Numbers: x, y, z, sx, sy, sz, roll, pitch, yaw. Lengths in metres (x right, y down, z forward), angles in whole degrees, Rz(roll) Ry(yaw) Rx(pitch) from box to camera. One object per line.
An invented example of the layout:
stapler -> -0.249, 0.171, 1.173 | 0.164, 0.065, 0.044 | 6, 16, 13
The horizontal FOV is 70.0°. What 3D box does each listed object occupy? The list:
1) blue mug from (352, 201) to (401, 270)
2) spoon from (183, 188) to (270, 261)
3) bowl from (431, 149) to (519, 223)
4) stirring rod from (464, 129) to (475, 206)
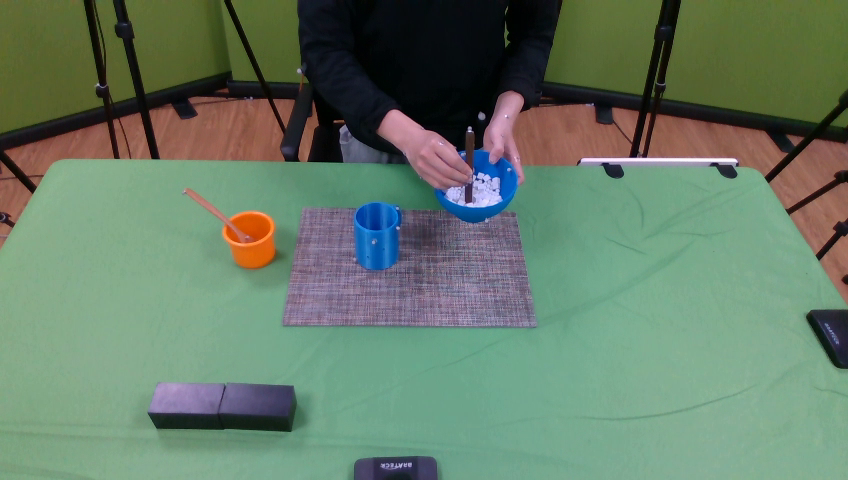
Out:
blue mug -> -0.082, -0.017, 1.144 | 0.082, 0.106, 0.116 | 30, 51, 22
spoon -> -0.360, -0.029, 1.110 | 0.021, 0.194, 0.041 | -21, 31, 41
bowl -> 0.087, -0.084, 1.072 | 0.151, 0.077, 0.150 | -1, 49, 1
stirring rod -> 0.075, -0.112, 1.004 | 0.014, 0.177, 0.006 | 11, 50, 12
